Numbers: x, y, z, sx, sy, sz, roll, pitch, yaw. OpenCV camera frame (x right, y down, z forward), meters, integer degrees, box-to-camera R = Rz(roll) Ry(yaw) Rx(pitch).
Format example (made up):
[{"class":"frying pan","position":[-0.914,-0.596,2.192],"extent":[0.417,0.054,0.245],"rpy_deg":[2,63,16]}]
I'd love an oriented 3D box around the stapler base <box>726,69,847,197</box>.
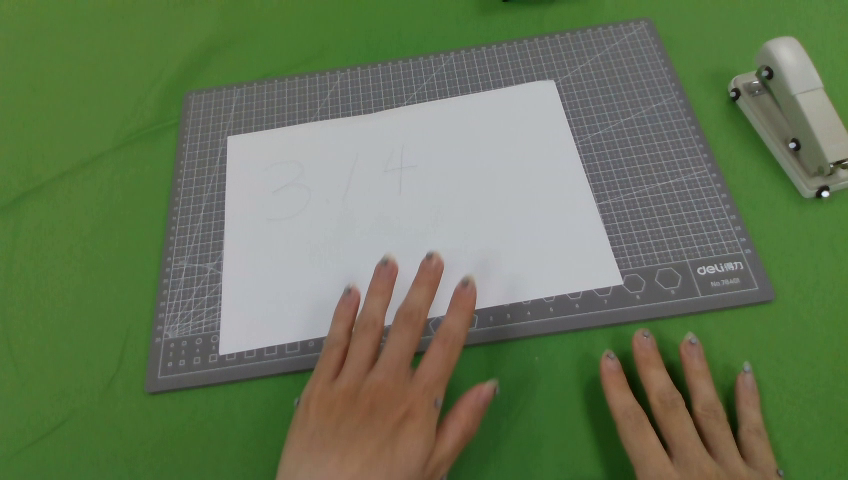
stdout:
[{"class":"stapler base","position":[0.291,-0.095,0.484],"extent":[0.041,0.024,0.129],"rpy_deg":[-16,61,0]}]

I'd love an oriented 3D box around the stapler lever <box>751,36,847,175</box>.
[{"class":"stapler lever","position":[0.289,-0.106,0.461],"extent":[0.027,0.040,0.117],"rpy_deg":[-16,61,1]}]
